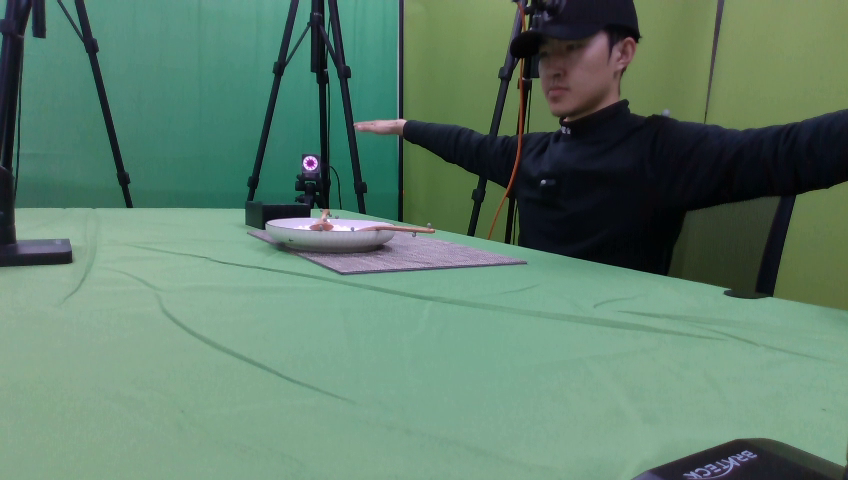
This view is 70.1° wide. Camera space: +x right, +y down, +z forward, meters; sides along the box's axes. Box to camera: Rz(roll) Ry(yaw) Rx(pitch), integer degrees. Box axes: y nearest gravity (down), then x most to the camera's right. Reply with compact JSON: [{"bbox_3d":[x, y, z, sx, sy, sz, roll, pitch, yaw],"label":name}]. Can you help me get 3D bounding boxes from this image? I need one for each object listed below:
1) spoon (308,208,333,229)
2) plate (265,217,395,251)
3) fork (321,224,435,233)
[{"bbox_3d":[-0.177,-0.041,1.072,0.042,0.021,0.193,-2,15,-5],"label":"spoon"},{"bbox_3d":[-0.150,-0.011,0.978,0.209,0.038,0.209,2,7,0],"label":"plate"},{"bbox_3d":[-0.076,-0.015,0.915,0.206,0.018,0.028,-3,3,27],"label":"fork"}]
